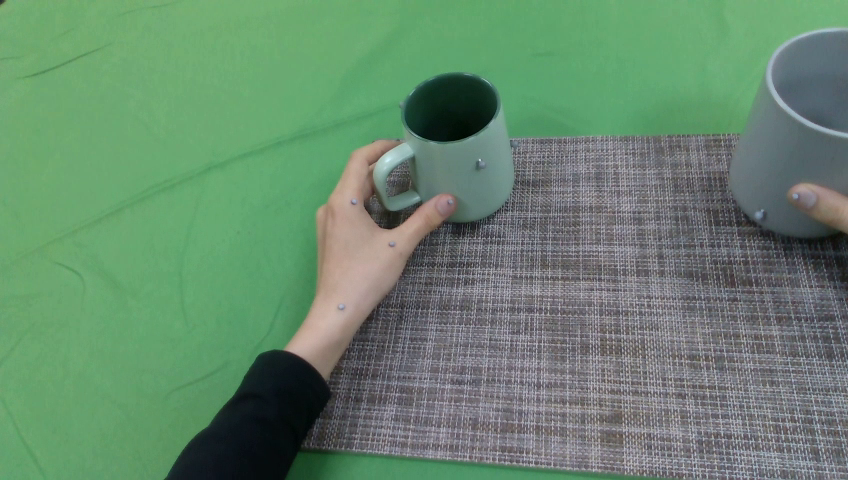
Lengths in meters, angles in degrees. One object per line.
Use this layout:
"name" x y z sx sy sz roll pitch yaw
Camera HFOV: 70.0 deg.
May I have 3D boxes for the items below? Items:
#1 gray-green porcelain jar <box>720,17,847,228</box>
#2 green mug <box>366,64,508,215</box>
"gray-green porcelain jar" 0.284 -0.078 0.445 0.106 0.128 0.105 -5 57 8
"green mug" 0.009 -0.072 0.508 0.125 0.106 0.091 -32 58 -9
